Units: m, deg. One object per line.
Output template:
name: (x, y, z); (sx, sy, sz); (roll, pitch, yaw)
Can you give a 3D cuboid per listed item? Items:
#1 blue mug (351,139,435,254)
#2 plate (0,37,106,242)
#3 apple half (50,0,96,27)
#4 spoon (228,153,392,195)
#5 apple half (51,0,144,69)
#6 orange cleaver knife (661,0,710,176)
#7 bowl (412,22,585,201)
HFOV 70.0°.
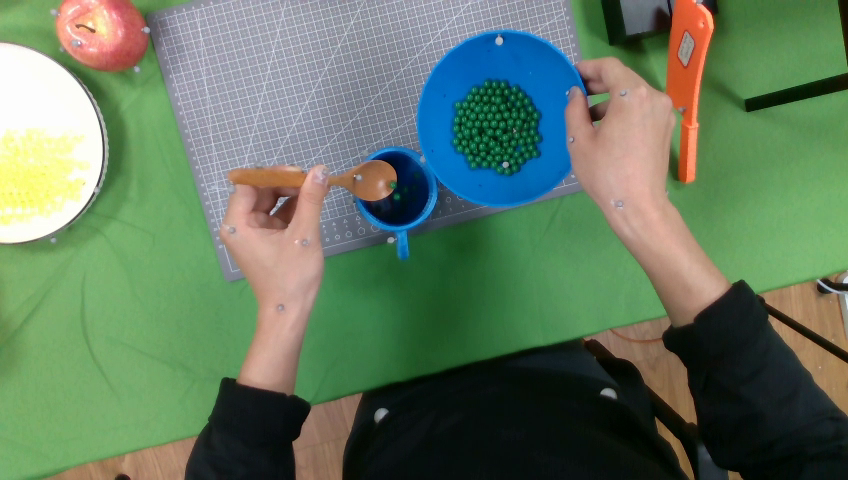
blue mug: (-0.031, -0.044, 0.634); (0.082, 0.105, 0.116); (-7, 96, -3)
plate: (-0.437, -0.103, 0.635); (0.209, 0.038, 0.209); (0, 97, -3)
apple half: (-0.340, -0.237, 0.608); (0.081, 0.081, 0.033); (-29, 102, 0)
spoon: (-0.087, -0.057, 0.516); (0.021, 0.194, 0.042); (25, 107, 24)
apple half: (-0.321, -0.203, 0.615); (0.081, 0.074, 0.053); (-30, 101, -4)
orange cleaver knife: (0.276, -0.170, 0.653); (0.012, 0.076, 0.213); (-16, 128, -3)
bowl: (0.071, -0.115, 0.556); (0.151, 0.077, 0.152); (3, 102, 13)
